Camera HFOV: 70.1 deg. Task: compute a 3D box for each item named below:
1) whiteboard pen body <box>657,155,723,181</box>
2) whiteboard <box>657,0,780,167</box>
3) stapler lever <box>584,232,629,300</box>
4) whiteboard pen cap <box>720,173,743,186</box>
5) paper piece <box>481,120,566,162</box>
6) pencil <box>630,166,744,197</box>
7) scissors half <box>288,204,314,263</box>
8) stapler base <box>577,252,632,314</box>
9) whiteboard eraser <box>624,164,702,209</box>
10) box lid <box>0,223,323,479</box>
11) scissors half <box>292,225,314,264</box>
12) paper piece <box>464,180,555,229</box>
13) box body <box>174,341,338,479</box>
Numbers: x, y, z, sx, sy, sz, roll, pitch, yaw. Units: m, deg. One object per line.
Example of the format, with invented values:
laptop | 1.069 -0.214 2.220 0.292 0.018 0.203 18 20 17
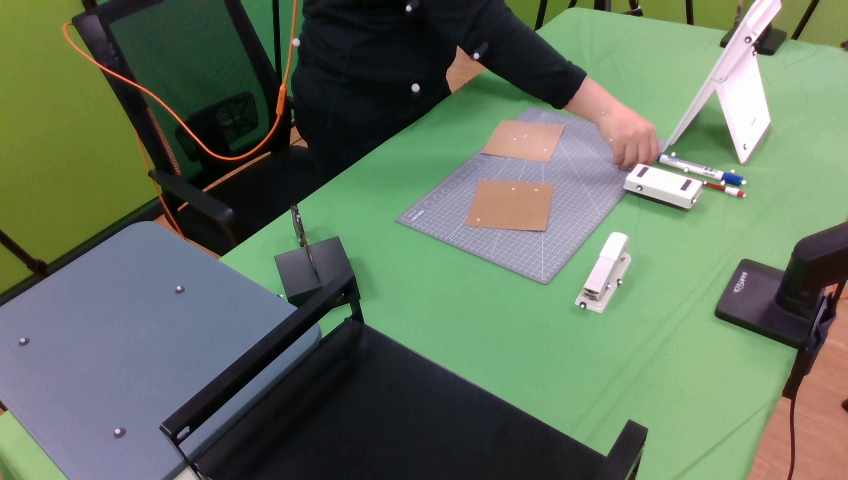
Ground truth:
whiteboard pen body | 0.474 -0.122 1.052 0.139 0.017 0.017 25 50 32
whiteboard | 0.571 -0.272 1.038 0.143 0.306 0.218 37 54 17
stapler lever | 0.261 0.034 0.858 0.026 0.040 0.118 16 46 30
whiteboard pen cap | 0.519 -0.103 1.020 0.033 0.018 0.018 23 49 30
paper piece | 0.197 -0.199 1.188 0.135 0.004 0.135 11 44 21
pencil | 0.447 -0.103 1.038 0.192 0.012 0.012 21 48 29
scissors half | -0.191 -0.010 0.944 0.013 0.040 0.173 -16 37 -16
stapler base | 0.264 0.051 0.875 0.041 0.024 0.131 16 47 30
whiteboard eraser | 0.396 -0.087 1.003 0.112 0.042 0.056 23 48 31
box lid | -0.318 0.109 0.671 0.368 0.015 0.264 24 49 31
scissors half | -0.188 0.007 0.954 0.013 0.040 0.174 -20 21 -13
paper piece | 0.149 -0.062 1.034 0.137 0.009 0.136 5 37 17
box body | -0.311 0.165 0.720 0.361 0.161 0.255 23 48 32
